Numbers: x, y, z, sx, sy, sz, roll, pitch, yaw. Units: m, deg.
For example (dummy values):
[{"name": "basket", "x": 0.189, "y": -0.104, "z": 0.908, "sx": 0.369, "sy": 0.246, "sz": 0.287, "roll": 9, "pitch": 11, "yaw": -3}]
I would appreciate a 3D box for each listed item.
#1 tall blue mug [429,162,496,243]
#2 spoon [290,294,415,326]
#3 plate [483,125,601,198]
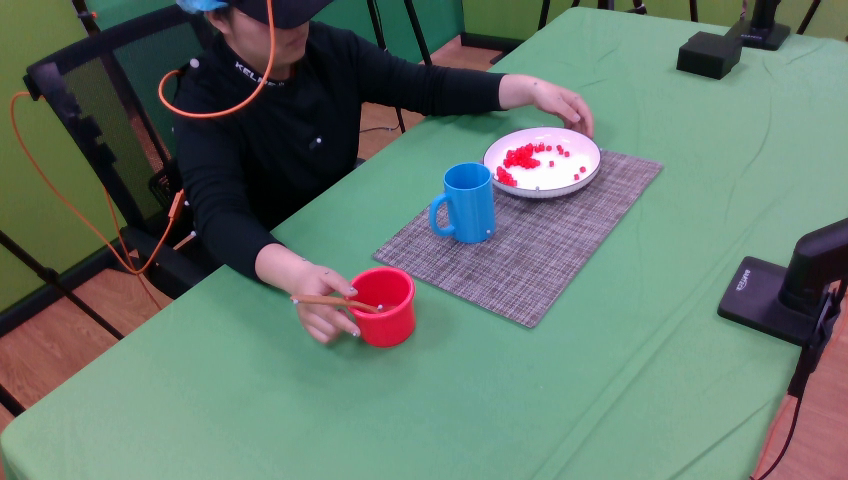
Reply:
[{"name": "tall blue mug", "x": 0.067, "y": -0.051, "z": 0.960, "sx": 0.077, "sy": 0.108, "sz": 0.107, "roll": 18, "pitch": 47, "yaw": 28}, {"name": "spoon", "x": -0.091, "y": 0.089, "z": 0.804, "sx": 0.195, "sy": 0.021, "sz": 0.041, "roll": 19, "pitch": 24, "yaw": -40}, {"name": "plate", "x": 0.210, "y": -0.137, "z": 1.091, "sx": 0.207, "sy": 0.039, "sz": 0.206, "roll": -5, "pitch": 40, "yaw": 5}]
